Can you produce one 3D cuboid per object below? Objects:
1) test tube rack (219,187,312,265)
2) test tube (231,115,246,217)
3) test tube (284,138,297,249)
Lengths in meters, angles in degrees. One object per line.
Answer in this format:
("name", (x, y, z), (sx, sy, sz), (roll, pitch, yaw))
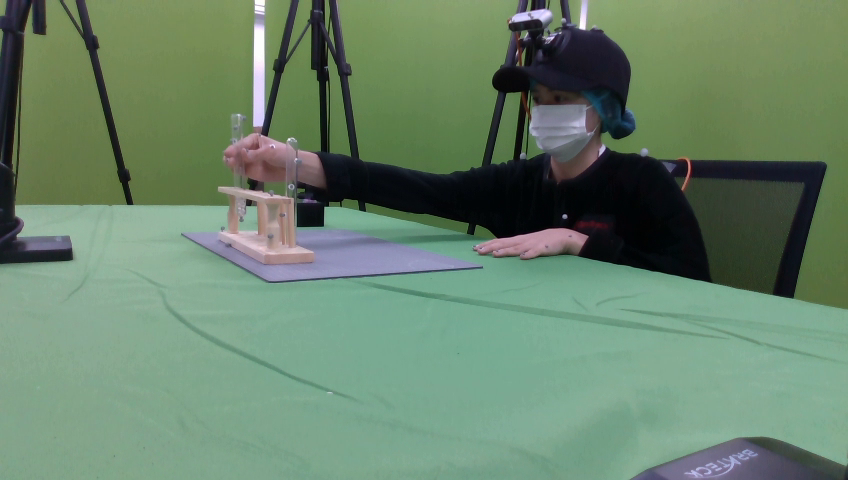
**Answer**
("test tube rack", (-0.235, -0.027, 0.872), (0.067, 0.085, 0.241), (-1, 8, -31))
("test tube", (-0.273, -0.108, 0.890), (0.017, 0.150, 0.017), (0, 6, 0))
("test tube", (-0.181, -0.062, 0.816), (0.017, 0.150, 0.017), (2, 7, 0))
